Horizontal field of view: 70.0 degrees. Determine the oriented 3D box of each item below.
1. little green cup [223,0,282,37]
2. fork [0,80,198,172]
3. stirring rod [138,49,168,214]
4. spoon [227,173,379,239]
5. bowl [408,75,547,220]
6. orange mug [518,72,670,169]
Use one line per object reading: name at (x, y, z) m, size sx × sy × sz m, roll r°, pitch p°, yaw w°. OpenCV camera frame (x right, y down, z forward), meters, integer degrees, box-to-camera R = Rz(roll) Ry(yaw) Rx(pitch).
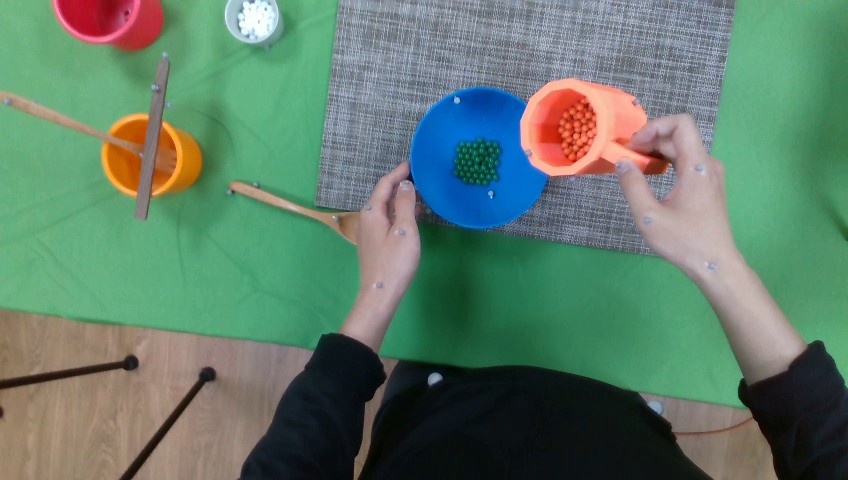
little green cup at (-0.192, -0.261, 0.690) m, size 0.061 × 0.038 × 0.061 m, roll 0°, pitch 96°, yaw 3°
fork at (-0.345, -0.121, 0.654) m, size 0.209 × 0.018 × 0.028 m, roll 23°, pitch 101°, yaw -44°
stirring rod at (-0.291, -0.116, 0.650) m, size 0.014 × 0.006 × 0.176 m, roll 10°, pitch 96°, yaw 3°
spoon at (-0.144, -0.046, 0.718) m, size 0.194 × 0.021 × 0.042 m, roll 19°, pitch 111°, yaw -1°
bowl at (0.059, -0.099, 0.675) m, size 0.151 × 0.076 × 0.151 m, roll 0°, pitch 96°, yaw 3°
orange mug at (0.163, -0.103, 0.568) m, size 0.125 × 0.101 × 0.084 m, roll 39°, pitch 120°, yaw 35°
